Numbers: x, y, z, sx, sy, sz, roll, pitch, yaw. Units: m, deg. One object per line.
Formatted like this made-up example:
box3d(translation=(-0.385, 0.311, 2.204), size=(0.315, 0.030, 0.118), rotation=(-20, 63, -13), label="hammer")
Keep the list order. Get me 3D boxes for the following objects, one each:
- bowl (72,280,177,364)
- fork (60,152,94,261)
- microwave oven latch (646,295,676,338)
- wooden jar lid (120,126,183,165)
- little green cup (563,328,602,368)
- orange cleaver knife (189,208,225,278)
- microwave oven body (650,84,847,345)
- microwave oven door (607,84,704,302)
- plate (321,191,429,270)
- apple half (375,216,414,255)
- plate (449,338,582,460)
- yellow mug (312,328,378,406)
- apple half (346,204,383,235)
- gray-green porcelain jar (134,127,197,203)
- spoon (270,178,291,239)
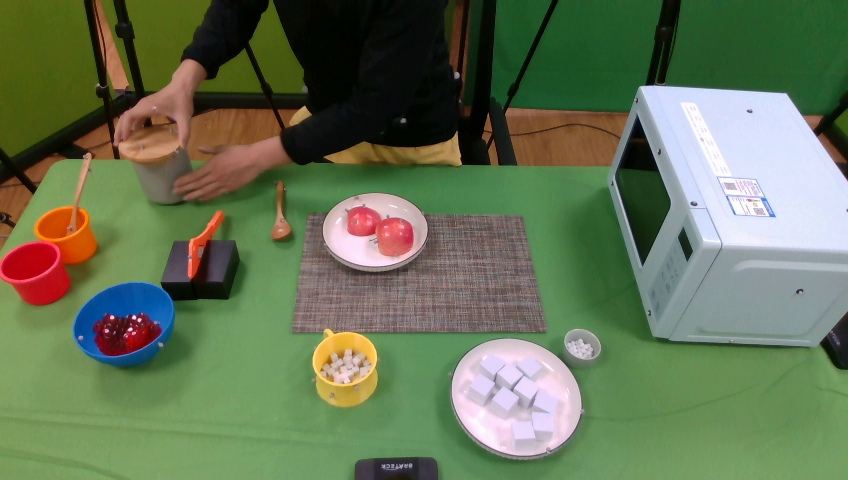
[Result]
box3d(translation=(-0.473, 0.147, 0.982), size=(0.151, 0.077, 0.150), rotation=(2, 46, -2), label="bowl")
box3d(translation=(-0.638, -0.063, 1.119), size=(0.028, 0.018, 0.207), rotation=(12, 90, 8), label="fork")
box3d(translation=(0.413, 0.133, 1.060), size=(0.030, 0.029, 0.078), rotation=(4, 46, 1), label="microwave oven latch")
box3d(translation=(-0.501, -0.173, 1.118), size=(0.108, 0.021, 0.107), rotation=(5, 42, -4), label="wooden jar lid")
box3d(translation=(0.266, 0.185, 1.025), size=(0.061, 0.039, 0.061), rotation=(1, 45, -1), label="little green cup")
box3d(translation=(-0.401, 0.002, 1.122), size=(0.012, 0.077, 0.210), rotation=(5, 23, -5), label="orange cleaver knife")
box3d(translation=(0.569, -0.054, 1.116), size=(0.326, 0.261, 0.439), rotation=(2, 46, -1), label="microwave oven body")
box3d(translation=(0.424, -0.096, 1.137), size=(0.039, 0.245, 0.353), rotation=(3, 46, -1), label="microwave oven door")
box3d(translation=(-0.094, -0.015, 1.185), size=(0.209, 0.038, 0.208), rotation=(2, 46, -2), label="plate")
box3d(translation=(-0.056, -0.017, 1.169), size=(0.075, 0.053, 0.080), rotation=(0, 46, -7), label="apple half")
box3d(translation=(0.141, 0.251, 0.956), size=(0.208, 0.039, 0.206), rotation=(2, 46, -2), label="plate")
box3d(translation=(-0.132, 0.193, 0.971), size=(0.100, 0.064, 0.130), rotation=(-22, 51, -22), label="yellow mug")
box3d(translation=(-0.119, -0.049, 1.207), size=(0.081, 0.033, 0.081), rotation=(2, 50, -2), label="apple half")
box3d(translation=(-0.521, -0.146, 1.223), size=(0.106, 0.127, 0.105), rotation=(2, 46, -2), label="gray-green porcelain jar")
box3d(translation=(-0.293, -0.069, 1.237), size=(0.041, 0.022, 0.192), rotation=(-18, 48, 6), label="spoon")
